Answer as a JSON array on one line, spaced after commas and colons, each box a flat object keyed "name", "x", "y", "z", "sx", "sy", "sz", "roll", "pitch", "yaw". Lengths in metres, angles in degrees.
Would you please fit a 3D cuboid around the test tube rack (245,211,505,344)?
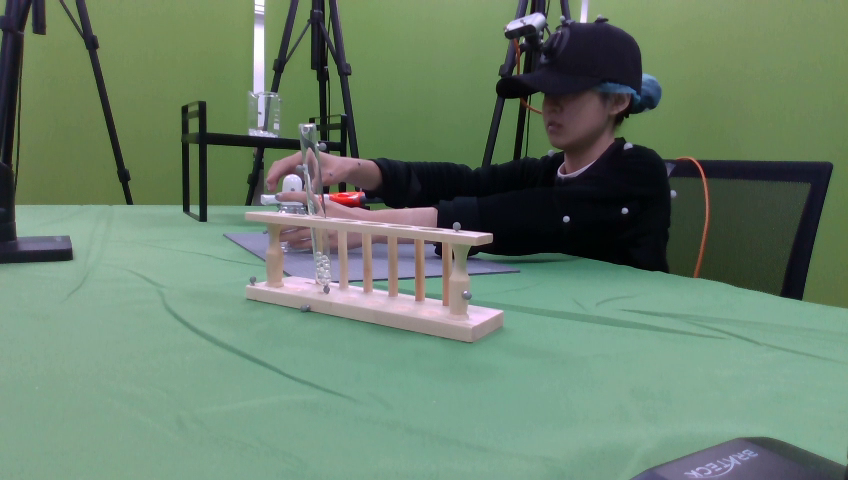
[{"name": "test tube rack", "x": -0.049, "y": 0.025, "z": 0.547, "sx": 0.241, "sy": 0.085, "sz": 0.067, "roll": 7, "pitch": 8, "yaw": 29}]

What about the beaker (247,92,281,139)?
[{"name": "beaker", "x": -0.361, "y": -0.280, "z": 1.359, "sx": 0.074, "sy": 0.100, "sz": 0.084, "roll": 4, "pitch": 8, "yaw": 8}]

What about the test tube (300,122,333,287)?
[{"name": "test tube", "x": -0.096, "y": -0.030, "z": 0.543, "sx": 0.017, "sy": 0.150, "sz": 0.017, "roll": -3, "pitch": 14, "yaw": 1}]

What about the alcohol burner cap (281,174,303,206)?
[{"name": "alcohol burner cap", "x": -0.193, "y": -0.073, "z": 0.883, "sx": 0.034, "sy": 0.048, "sz": 0.034, "roll": 1, "pitch": 8, "yaw": 0}]

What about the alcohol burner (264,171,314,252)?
[{"name": "alcohol burner", "x": -0.194, "y": -0.042, "z": 0.888, "sx": 0.078, "sy": 0.119, "sz": 0.078, "roll": 3, "pitch": 6, "yaw": 0}]

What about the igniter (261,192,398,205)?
[{"name": "igniter", "x": -0.185, "y": -0.083, "z": 1.217, "sx": 0.278, "sy": 0.025, "sz": 0.057, "roll": -2, "pitch": 12, "yaw": -25}]
